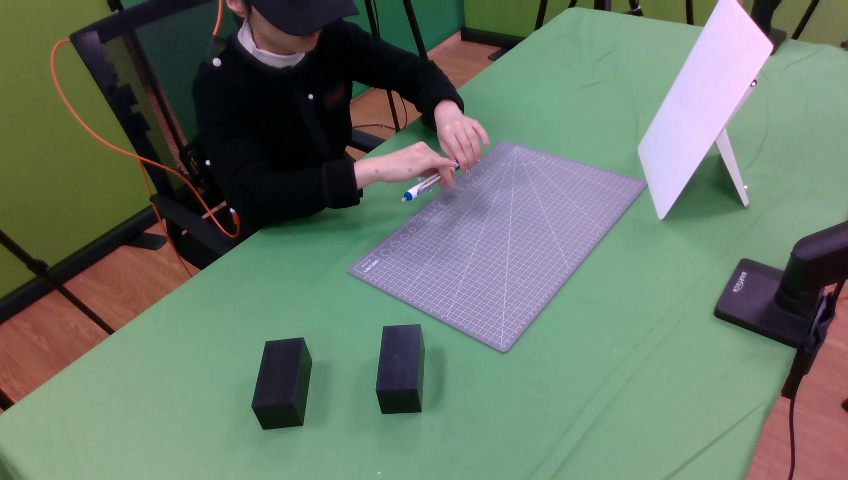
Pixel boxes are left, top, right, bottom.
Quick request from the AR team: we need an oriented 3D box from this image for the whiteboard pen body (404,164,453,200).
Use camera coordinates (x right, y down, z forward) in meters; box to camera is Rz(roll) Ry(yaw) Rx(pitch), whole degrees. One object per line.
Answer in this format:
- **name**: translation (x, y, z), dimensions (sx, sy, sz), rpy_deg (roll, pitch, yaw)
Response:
- **whiteboard pen body**: translation (0.016, -0.100, 0.989), dimensions (0.017, 0.017, 0.141), rpy_deg (23, 42, 31)

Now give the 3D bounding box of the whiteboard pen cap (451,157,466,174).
- **whiteboard pen cap**: translation (0.055, -0.127, 1.025), dimensions (0.018, 0.018, 0.033), rpy_deg (26, 46, 33)

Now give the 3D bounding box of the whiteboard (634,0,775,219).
- **whiteboard**: translation (0.485, -0.193, 0.957), dimensions (0.144, 0.305, 0.216), rpy_deg (14, 41, -4)
